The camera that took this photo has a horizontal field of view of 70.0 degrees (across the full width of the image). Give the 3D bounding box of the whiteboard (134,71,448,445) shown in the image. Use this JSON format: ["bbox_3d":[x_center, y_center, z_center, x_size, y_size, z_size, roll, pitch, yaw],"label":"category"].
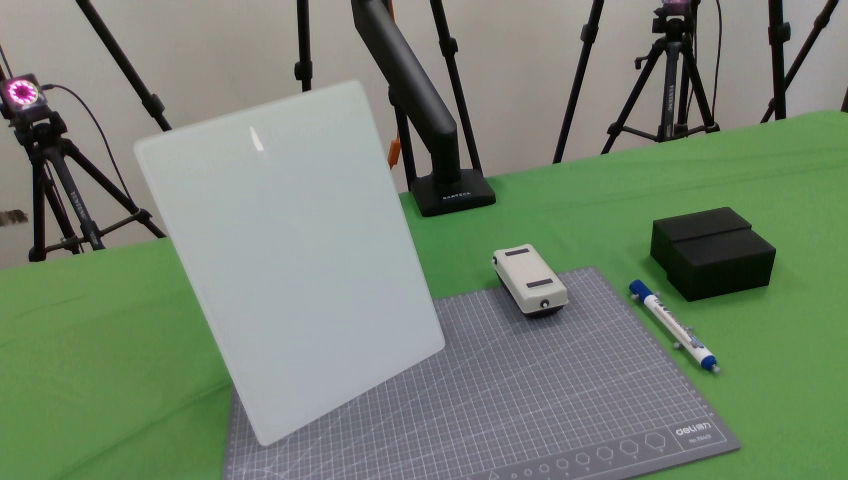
[{"bbox_3d":[-0.137,0.009,0.639,0.217,0.307,0.143,-24,16,-24],"label":"whiteboard"}]

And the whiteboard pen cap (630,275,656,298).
[{"bbox_3d":[0.255,0.055,0.703,0.018,0.018,0.033,-13,31,-8],"label":"whiteboard pen cap"}]

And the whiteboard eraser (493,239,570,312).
[{"bbox_3d":[0.126,0.042,0.723,0.056,0.042,0.111,-14,33,-8],"label":"whiteboard eraser"}]

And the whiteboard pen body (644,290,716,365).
[{"bbox_3d":[0.268,0.085,0.655,0.017,0.017,0.139,-12,32,-8],"label":"whiteboard pen body"}]
